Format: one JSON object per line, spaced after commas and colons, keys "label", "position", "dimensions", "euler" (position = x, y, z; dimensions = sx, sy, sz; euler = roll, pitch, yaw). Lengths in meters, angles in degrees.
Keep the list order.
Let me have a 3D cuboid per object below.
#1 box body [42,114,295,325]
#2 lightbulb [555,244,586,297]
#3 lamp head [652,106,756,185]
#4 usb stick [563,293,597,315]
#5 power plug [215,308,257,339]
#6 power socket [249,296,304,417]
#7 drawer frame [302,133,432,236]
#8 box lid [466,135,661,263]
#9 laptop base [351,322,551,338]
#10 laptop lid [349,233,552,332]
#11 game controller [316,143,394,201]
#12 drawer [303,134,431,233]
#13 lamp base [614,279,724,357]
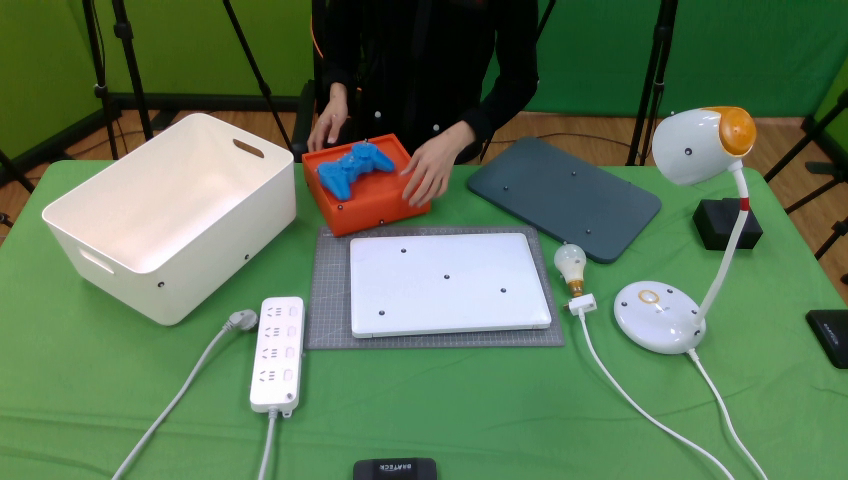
{"label": "box body", "position": [-0.437, -0.046, 1.110], "dimensions": [0.253, 0.161, 0.363], "euler": [24, 49, 19]}
{"label": "lightbulb", "position": [0.281, 0.058, 1.146], "dimensions": [0.059, 0.060, 0.107], "euler": [-2, 62, -6]}
{"label": "lamp head", "position": [0.410, -0.139, 0.869], "dimensions": [0.113, 0.122, 0.112], "euler": [0, 89, -19]}
{"label": "usb stick", "position": [0.280, 0.118, 1.093], "dimensions": [0.059, 0.021, 0.027], "euler": [-18, 35, 25]}
{"label": "power plug", "position": [-0.317, 0.143, 1.024], "dimensions": [0.072, 0.053, 0.035], "euler": [-32, 58, -9]}
{"label": "power socket", "position": [-0.239, 0.182, 0.997], "dimensions": [0.072, 0.033, 0.225], "euler": [-2, 47, -5]}
{"label": "drawer frame", "position": [-0.120, -0.120, 1.261], "dimensions": [0.214, 0.083, 0.200], "euler": [-17, 49, -20]}
{"label": "box lid", "position": [0.306, -0.102, 1.327], "dimensions": [0.370, 0.015, 0.263], "euler": [32, 52, 25]}
{"label": "laptop base", "position": [0.039, 0.080, 1.125], "dimensions": [0.355, 0.023, 0.234], "euler": [-2, 43, -6]}
{"label": "laptop lid", "position": [0.040, 0.070, 1.119], "dimensions": [0.357, 0.013, 0.240], "euler": [-1, 44, -5]}
{"label": "game controller", "position": [-0.142, -0.146, 1.213], "dimensions": [0.096, 0.052, 0.155], "euler": [31, 50, 30]}
{"label": "drawer", "position": [-0.120, -0.121, 1.263], "dimensions": [0.212, 0.073, 0.193], "euler": [-17, 50, -20]}
{"label": "lamp base", "position": [0.436, 0.090, 1.035], "dimensions": [0.161, 0.181, 0.178], "euler": [-23, 55, -23]}
